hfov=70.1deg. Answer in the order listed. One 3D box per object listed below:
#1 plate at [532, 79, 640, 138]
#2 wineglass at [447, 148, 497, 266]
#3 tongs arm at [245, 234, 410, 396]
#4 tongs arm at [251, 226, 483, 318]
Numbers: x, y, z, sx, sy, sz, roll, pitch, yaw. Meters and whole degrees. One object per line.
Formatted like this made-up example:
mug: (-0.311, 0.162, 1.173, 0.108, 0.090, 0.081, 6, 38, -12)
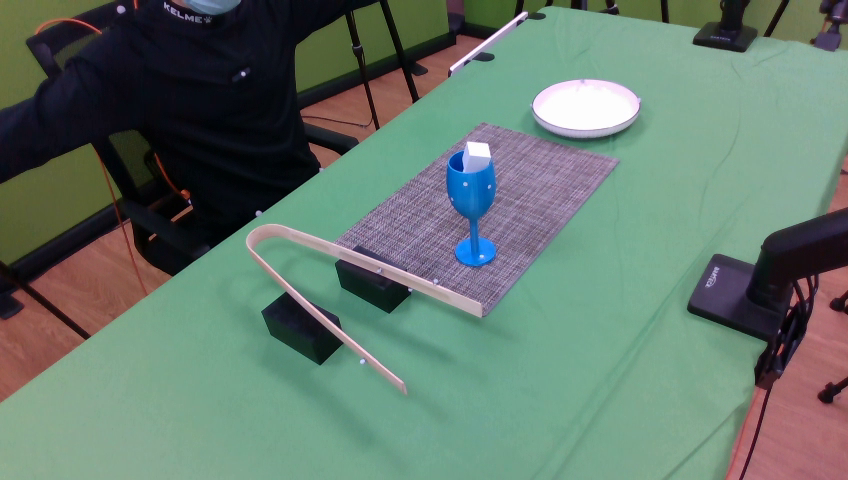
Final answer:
plate: (0.322, -0.259, 1.212, 0.209, 0.038, 0.208, -4, 40, 4)
wineglass: (0.073, -0.046, 0.889, 0.074, 0.173, 0.073, -4, 41, 4)
tongs arm: (-0.145, 0.089, 0.809, 0.028, 0.028, 0.384, -38, 49, -23)
tongs arm: (-0.094, 0.045, 0.853, 0.382, 0.026, 0.051, 21, 50, 29)
